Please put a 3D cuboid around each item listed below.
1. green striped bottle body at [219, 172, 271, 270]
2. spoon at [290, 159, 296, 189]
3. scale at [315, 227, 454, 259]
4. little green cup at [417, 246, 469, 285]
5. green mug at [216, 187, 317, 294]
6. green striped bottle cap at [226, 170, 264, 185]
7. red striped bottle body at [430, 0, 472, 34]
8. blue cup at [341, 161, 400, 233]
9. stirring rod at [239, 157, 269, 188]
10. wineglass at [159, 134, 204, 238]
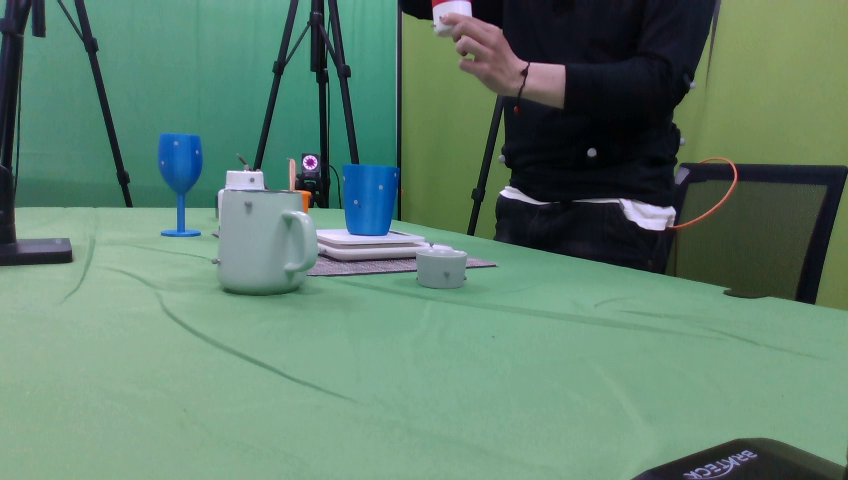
[{"bbox_3d":[-0.223,-0.025,0.755,0.063,0.119,0.063,2,7,0],"label":"green striped bottle body"},{"bbox_3d":[-0.273,-0.102,1.252,0.042,0.193,0.021,7,-38,-17],"label":"spoon"},{"bbox_3d":[-0.066,0.001,0.906,0.202,0.031,0.148,-2,8,-31],"label":"scale"},{"bbox_3d":[0.021,0.029,0.701,0.061,0.038,0.061,1,6,0],"label":"little green cup"},{"bbox_3d":[-0.157,0.000,0.629,0.124,0.105,0.093,7,9,37],"label":"green mug"},{"bbox_3d":[-0.222,-0.077,0.748,0.044,0.020,0.044,1,7,0],"label":"green striped bottle cap"},{"bbox_3d":[0.039,-0.394,0.960,0.063,0.119,0.063,-7,5,1],"label":"red striped bottle body"},{"bbox_3d":[-0.080,-0.062,0.883,0.093,0.100,0.092,2,4,0],"label":"blue cup"},{"bbox_3d":[-0.309,-0.098,1.209,0.006,0.177,0.014,-39,29,-4],"label":"stirring rod"},{"bbox_3d":[-0.415,-0.093,1.040,0.074,0.172,0.073,2,7,0],"label":"wineglass"}]
